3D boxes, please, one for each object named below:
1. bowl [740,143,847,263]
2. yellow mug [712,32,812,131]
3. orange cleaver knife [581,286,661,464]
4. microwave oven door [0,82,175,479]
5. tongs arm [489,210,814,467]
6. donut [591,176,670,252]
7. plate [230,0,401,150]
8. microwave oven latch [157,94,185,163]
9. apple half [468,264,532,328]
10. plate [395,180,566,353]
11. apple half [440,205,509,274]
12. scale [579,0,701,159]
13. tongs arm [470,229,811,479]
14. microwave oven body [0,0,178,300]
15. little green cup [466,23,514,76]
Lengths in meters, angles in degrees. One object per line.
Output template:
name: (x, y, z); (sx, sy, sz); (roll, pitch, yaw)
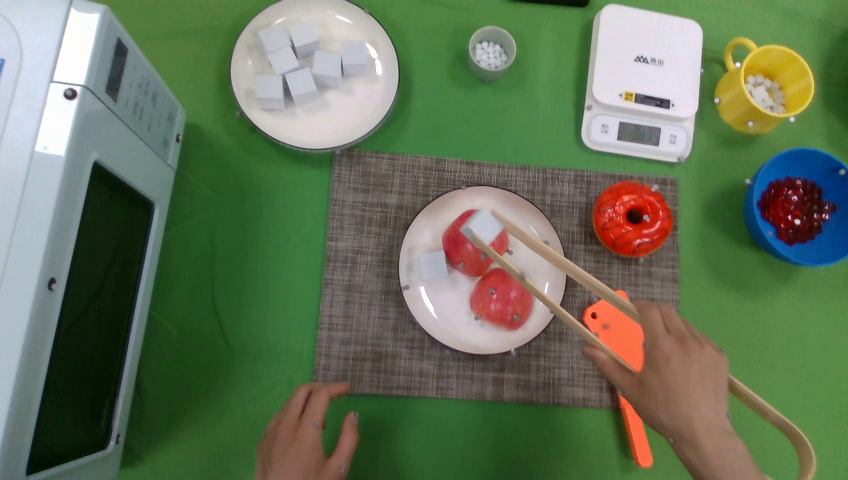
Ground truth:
bowl: (0.463, -0.040, 0.771); (0.151, 0.077, 0.151); (1, 81, -5)
yellow mug: (0.438, -0.217, 0.804); (0.100, 0.064, 0.130); (-28, 83, -9)
orange cleaver knife: (0.252, 0.162, 0.743); (0.077, 0.012, 0.210); (-13, 81, -12)
microwave oven door: (-0.323, 0.063, 0.579); (0.039, 0.244, 0.354); (7, 80, -4)
tongs arm: (0.215, 0.086, 0.617); (0.385, 0.028, 0.028); (38, 67, 18)
donut: (0.259, -0.032, 0.764); (0.099, 0.048, 0.098); (1, 80, -3)
plate: (-0.134, -0.210, 0.765); (0.208, 0.039, 0.207); (1, 80, -5)
microwave oven latch: (-0.305, -0.133, 0.716); (0.030, 0.029, 0.079); (9, 80, -4)
apple half: (0.095, 0.065, 0.728); (0.081, 0.033, 0.081); (0, 82, -1)
plate: (0.068, 0.033, 0.738); (0.209, 0.038, 0.208); (1, 80, -5)
apple half: (0.062, -0.005, 0.728); (0.081, 0.053, 0.074); (-40, 83, -11)
scale: (0.289, -0.214, 0.807); (0.149, 0.031, 0.200); (9, 80, -3)
tongs arm: (0.200, 0.101, 0.610); (0.050, 0.027, 0.382); (-41, 70, -17)
microwave oven body: (-0.463, 0.005, 0.581); (0.326, 0.260, 0.440); (7, 80, -4)
little green cup: (0.083, -0.246, 0.790); (0.061, 0.039, 0.061); (1, 80, -4)
